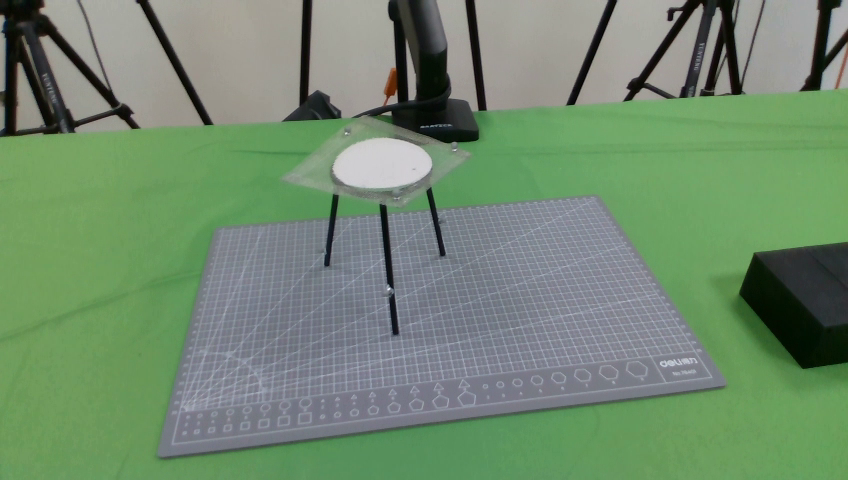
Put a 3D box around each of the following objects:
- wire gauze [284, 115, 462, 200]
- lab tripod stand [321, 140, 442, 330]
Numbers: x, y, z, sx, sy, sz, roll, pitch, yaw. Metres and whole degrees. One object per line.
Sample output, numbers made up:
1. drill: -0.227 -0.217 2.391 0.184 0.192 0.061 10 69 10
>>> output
1. wire gauze: -0.036 -0.076 0.509 0.125 0.011 0.120 12 34 4
2. lab tripod stand: -0.037 -0.012 0.562 0.148 0.132 0.147 1 38 0
